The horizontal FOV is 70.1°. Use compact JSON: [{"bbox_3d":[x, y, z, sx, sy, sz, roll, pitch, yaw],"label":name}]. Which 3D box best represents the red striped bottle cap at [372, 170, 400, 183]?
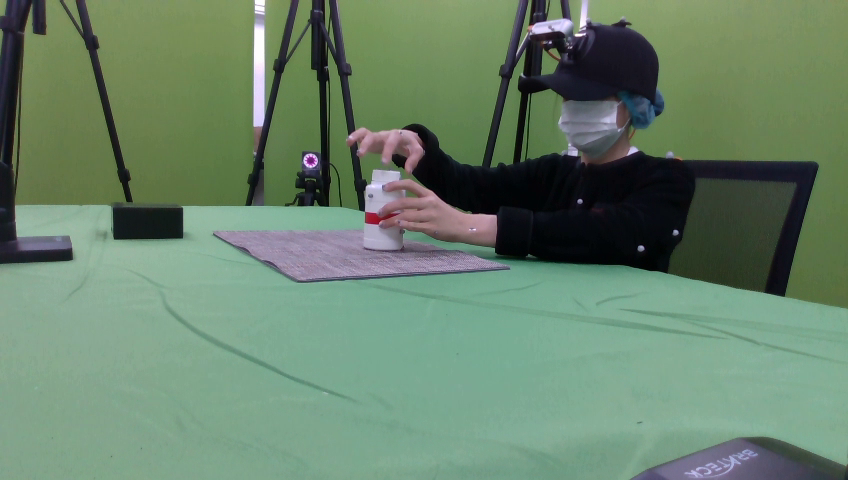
[{"bbox_3d":[-0.058,-0.097,0.926,0.044,0.017,0.044,2,5,0],"label":"red striped bottle cap"}]

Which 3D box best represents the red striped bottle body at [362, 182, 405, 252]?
[{"bbox_3d":[-0.062,-0.044,0.933,0.063,0.119,0.063,4,7,0],"label":"red striped bottle body"}]
